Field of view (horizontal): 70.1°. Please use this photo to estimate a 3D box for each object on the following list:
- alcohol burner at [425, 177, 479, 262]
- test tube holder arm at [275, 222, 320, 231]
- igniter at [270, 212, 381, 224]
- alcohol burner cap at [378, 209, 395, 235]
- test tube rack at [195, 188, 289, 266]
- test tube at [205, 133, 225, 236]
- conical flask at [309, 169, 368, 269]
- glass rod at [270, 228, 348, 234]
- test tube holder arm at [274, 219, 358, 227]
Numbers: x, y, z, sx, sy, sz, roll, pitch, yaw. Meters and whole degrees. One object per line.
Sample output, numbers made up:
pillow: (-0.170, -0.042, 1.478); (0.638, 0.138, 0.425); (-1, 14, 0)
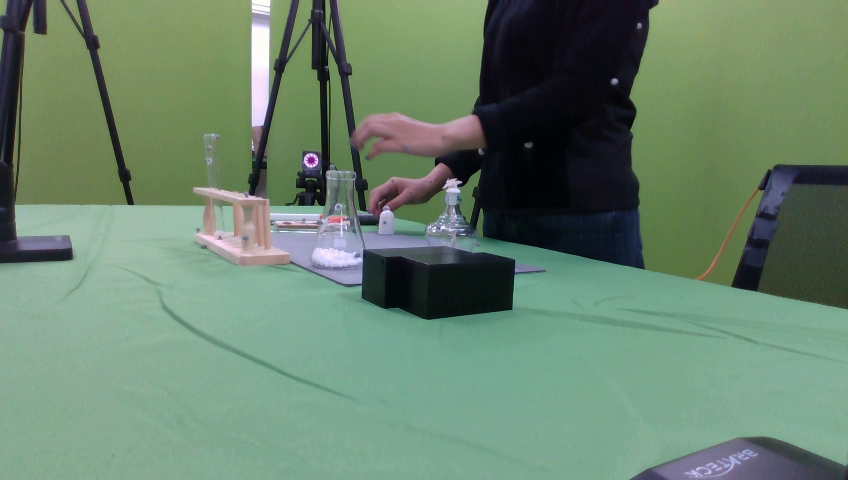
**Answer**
alcohol burner: (0.040, -0.029, 0.853); (0.078, 0.119, 0.078); (2, 10, 0)
test tube holder arm: (-0.238, -0.026, 1.145); (0.088, 0.015, 0.010); (-3, 46, -39)
igniter: (-0.213, -0.048, 1.278); (0.278, 0.025, 0.057); (-1, -2, -25)
alcohol burner cap: (-0.070, -0.035, 1.144); (0.034, 0.048, 0.034); (1, 8, 0)
test tube rack: (-0.266, -0.025, 0.864); (0.067, 0.085, 0.241); (-2, 8, -33)
test tube: (-0.305, -0.079, 0.883); (0.017, 0.150, 0.017); (-2, 10, 1)
conical flask: (-0.107, -0.028, 0.762); (0.075, 0.122, 0.075); (2, 7, 0)
glass rod: (-0.234, -0.017, 1.105); (0.201, 0.008, 0.008); (2, 6, -26)
test tube holder arm: (-0.206, -0.032, 1.177); (0.179, 0.015, 0.013); (-4, 47, -40)
